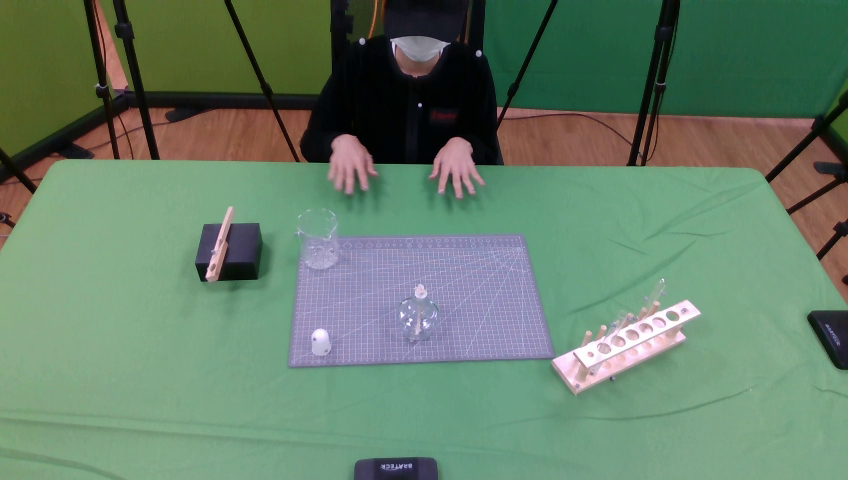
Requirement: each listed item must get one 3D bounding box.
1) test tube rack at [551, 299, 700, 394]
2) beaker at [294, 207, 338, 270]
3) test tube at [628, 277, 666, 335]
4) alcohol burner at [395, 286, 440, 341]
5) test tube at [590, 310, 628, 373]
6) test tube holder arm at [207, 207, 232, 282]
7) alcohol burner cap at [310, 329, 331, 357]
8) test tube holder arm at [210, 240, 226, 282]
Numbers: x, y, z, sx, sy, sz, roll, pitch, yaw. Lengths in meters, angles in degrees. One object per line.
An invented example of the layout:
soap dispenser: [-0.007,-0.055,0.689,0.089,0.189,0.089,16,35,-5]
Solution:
test tube rack: [0.339,0.166,1.021,0.242,0.085,0.066,-19,50,-21]
beaker: [-0.196,0.003,1.123,0.074,0.101,0.083,-23,53,-24]
test tube: [0.371,0.112,1.014,0.017,0.151,0.017,3,47,-3]
alcohol burner: [-0.010,0.116,1.018,0.078,0.119,0.077,3,47,-3]
test tube: [0.288,0.162,0.951,0.017,0.151,0.017,5,44,-4]
test tube holder arm: [-0.370,0.004,1.100,0.013,0.015,0.177,-5,46,0]
alcohol burner cap: [-0.173,0.168,1.004,0.034,0.048,0.033,2,46,-2]
test tube holder arm: [-0.362,0.036,1.069,0.010,0.015,0.087,-4,46,0]
